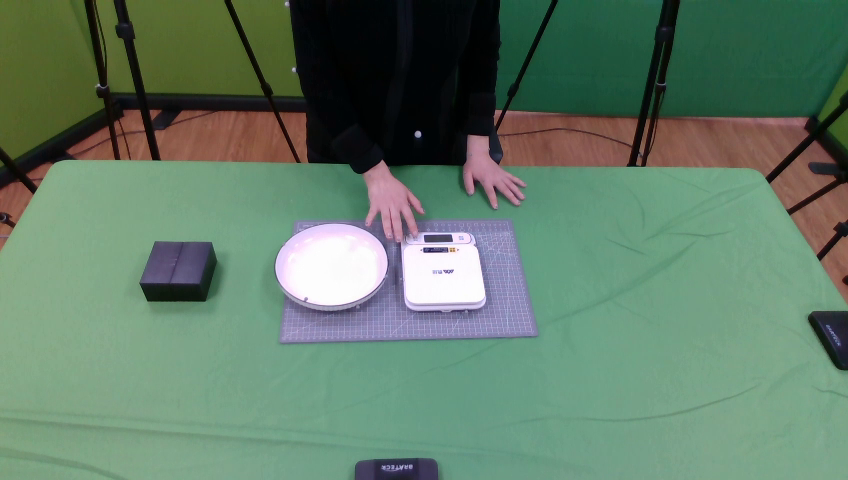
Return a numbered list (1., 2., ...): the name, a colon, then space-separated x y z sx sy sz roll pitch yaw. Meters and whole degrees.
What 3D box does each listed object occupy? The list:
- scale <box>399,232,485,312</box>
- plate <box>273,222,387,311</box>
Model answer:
1. scale: 0.031 0.050 1.141 0.149 0.032 0.199 -1 46 -5
2. plate: -0.172 0.051 1.120 0.209 0.038 0.208 2 46 -2
